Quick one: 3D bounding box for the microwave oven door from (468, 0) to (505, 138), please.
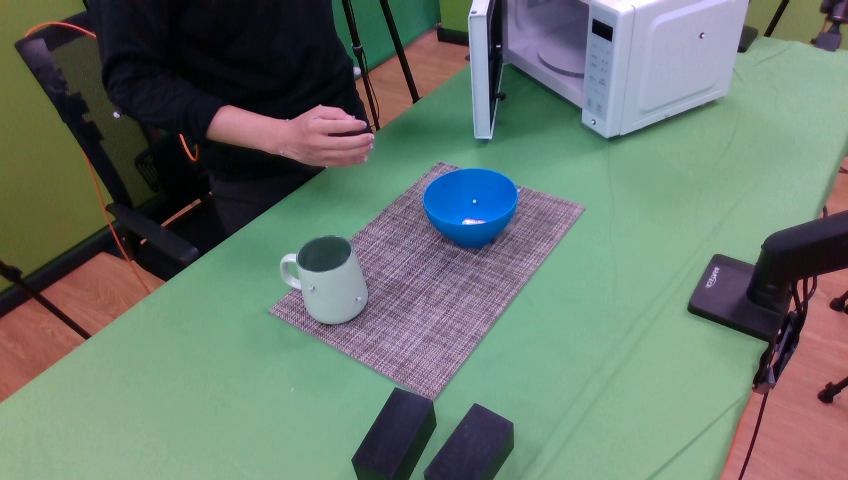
[{"bbox_3d":[0.132,-0.404,1.225,0.039,0.245,0.354,0,42,11],"label":"microwave oven door"}]

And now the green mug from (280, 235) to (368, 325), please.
[{"bbox_3d":[-0.146,0.055,0.857,0.125,0.105,0.092,8,43,17],"label":"green mug"}]

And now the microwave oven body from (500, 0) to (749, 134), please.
[{"bbox_3d":[0.382,-0.444,1.246,0.327,0.261,0.437,-22,42,-16],"label":"microwave oven body"}]

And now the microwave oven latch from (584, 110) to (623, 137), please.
[{"bbox_3d":[0.337,-0.222,1.142,0.030,0.029,0.078,-21,42,-14],"label":"microwave oven latch"}]

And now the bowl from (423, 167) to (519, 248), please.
[{"bbox_3d":[0.075,-0.041,0.959,0.151,0.077,0.150,-4,40,4],"label":"bowl"}]
